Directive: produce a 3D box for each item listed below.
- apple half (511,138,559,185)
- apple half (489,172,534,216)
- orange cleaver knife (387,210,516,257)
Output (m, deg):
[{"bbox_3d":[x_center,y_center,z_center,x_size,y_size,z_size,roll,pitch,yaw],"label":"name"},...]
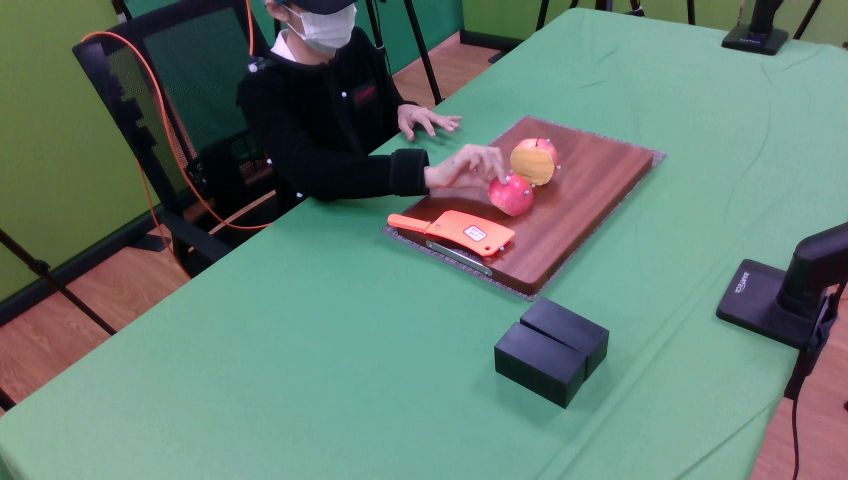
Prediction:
[{"bbox_3d":[0.192,-0.137,1.024,0.080,0.075,0.053,11,40,27],"label":"apple half"},{"bbox_3d":[0.145,-0.079,0.971,0.082,0.033,0.081,10,58,-16],"label":"apple half"},{"bbox_3d":[0.040,-0.020,0.953,0.210,0.012,0.077,16,49,29],"label":"orange cleaver knife"}]
